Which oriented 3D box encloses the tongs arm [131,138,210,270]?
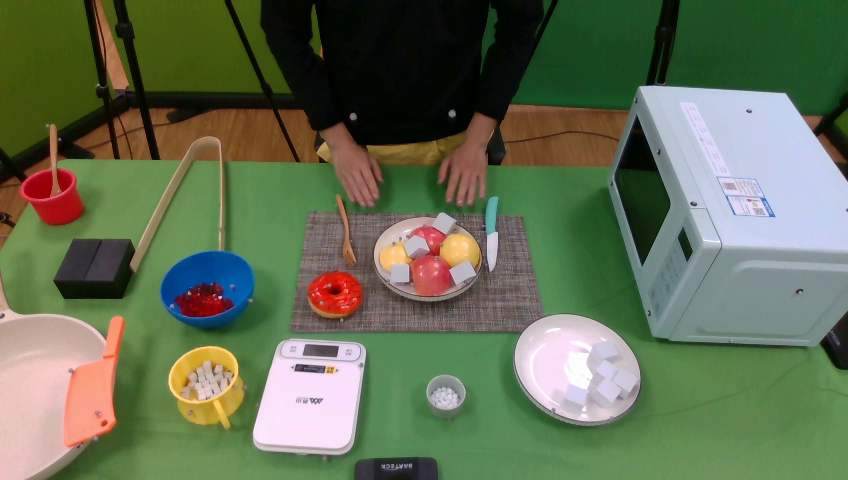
[{"bbox_3d":[-0.514,-0.087,1.237,0.028,0.028,0.385,0,45,5],"label":"tongs arm"}]

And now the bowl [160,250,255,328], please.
[{"bbox_3d":[-0.362,0.098,1.040,0.151,0.077,0.150,2,45,-2],"label":"bowl"}]

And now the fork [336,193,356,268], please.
[{"bbox_3d":[-0.158,-0.025,1.207,0.019,0.028,0.206,10,41,-24],"label":"fork"}]

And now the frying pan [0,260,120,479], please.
[{"bbox_3d":[-0.647,0.164,0.936,0.307,0.103,0.485,-19,58,-22],"label":"frying pan"}]

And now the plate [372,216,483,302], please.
[{"bbox_3d":[0.006,0.038,1.145,0.209,0.038,0.208,2,46,-2],"label":"plate"}]

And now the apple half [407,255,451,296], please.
[{"bbox_3d":[0.011,0.058,1.103,0.075,0.053,0.080,-6,43,-13],"label":"apple half"}]

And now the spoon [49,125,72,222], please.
[{"bbox_3d":[-0.718,-0.131,1.189,0.041,0.021,0.193,-4,90,-6],"label":"spoon"}]

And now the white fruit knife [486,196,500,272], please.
[{"bbox_3d":[0.138,-0.015,1.221,0.027,0.016,0.206,-2,46,10],"label":"white fruit knife"}]

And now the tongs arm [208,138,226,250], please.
[{"bbox_3d":[-0.430,-0.090,1.245,0.051,0.026,0.382,-7,46,-7],"label":"tongs arm"}]

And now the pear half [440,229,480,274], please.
[{"bbox_3d":[0.065,0.007,1.150,0.076,0.056,0.109,-10,43,-2],"label":"pear half"}]

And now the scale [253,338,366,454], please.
[{"bbox_3d":[-0.175,0.236,0.951,0.149,0.032,0.199,4,45,-1],"label":"scale"}]

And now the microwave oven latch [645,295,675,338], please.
[{"bbox_3d":[0.411,0.134,1.061,0.030,0.029,0.078,3,45,0],"label":"microwave oven latch"}]

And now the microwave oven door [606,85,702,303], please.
[{"bbox_3d":[0.422,-0.094,1.140,0.039,0.245,0.353,2,46,-1],"label":"microwave oven door"}]

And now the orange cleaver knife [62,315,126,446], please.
[{"bbox_3d":[-0.480,0.199,0.887,0.077,0.012,0.210,-9,47,-8],"label":"orange cleaver knife"}]

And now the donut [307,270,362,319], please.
[{"bbox_3d":[-0.157,0.097,1.073,0.099,0.048,0.098,4,45,-4],"label":"donut"}]

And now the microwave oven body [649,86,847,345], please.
[{"bbox_3d":[0.567,-0.053,1.118,0.326,0.261,0.439,2,45,-1],"label":"microwave oven body"}]

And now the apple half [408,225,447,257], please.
[{"bbox_3d":[0.010,-0.006,1.176,0.081,0.033,0.081,0,52,0],"label":"apple half"}]

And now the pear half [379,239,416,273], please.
[{"bbox_3d":[-0.048,0.024,1.147,0.070,0.031,0.087,12,47,-11],"label":"pear half"}]

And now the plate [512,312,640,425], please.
[{"bbox_3d":[0.246,0.213,0.999,0.208,0.039,0.206,2,46,-2],"label":"plate"}]

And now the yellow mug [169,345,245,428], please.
[{"bbox_3d":[-0.322,0.230,0.922,0.100,0.064,0.130,-24,53,-25],"label":"yellow mug"}]

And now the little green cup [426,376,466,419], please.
[{"bbox_3d":[0.033,0.248,0.950,0.061,0.039,0.061,2,46,-2],"label":"little green cup"}]
